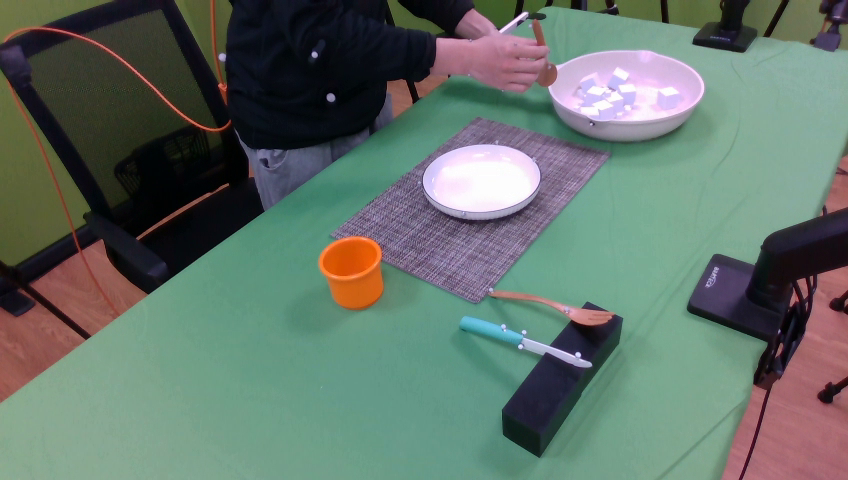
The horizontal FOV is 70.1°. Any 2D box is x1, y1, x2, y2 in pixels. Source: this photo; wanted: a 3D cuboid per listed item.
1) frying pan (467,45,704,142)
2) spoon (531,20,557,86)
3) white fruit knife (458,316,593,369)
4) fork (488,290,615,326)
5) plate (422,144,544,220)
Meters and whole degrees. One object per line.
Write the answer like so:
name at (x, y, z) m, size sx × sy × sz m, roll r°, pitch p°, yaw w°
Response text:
frying pan at (0.307, -0.326, 1.237) m, size 0.485 × 0.103 × 0.307 m, roll 25°, pitch 49°, yaw 20°
spoon at (0.200, -0.310, 1.010) m, size 0.041 × 0.195 × 0.021 m, roll -32°, pitch 72°, yaw 8°
white fruit knife at (0.120, 0.127, 0.757) m, size 0.205 × 0.027 × 0.016 m, roll 12°, pitch 44°, yaw 43°
fork at (0.160, 0.086, 0.801) m, size 0.205 × 0.019 × 0.028 m, roll 12°, pitch 47°, yaw 48°
plate at (0.102, -0.097, 1.048) m, size 0.207 × 0.039 × 0.206 m, roll -4°, pitch 40°, yaw 4°
